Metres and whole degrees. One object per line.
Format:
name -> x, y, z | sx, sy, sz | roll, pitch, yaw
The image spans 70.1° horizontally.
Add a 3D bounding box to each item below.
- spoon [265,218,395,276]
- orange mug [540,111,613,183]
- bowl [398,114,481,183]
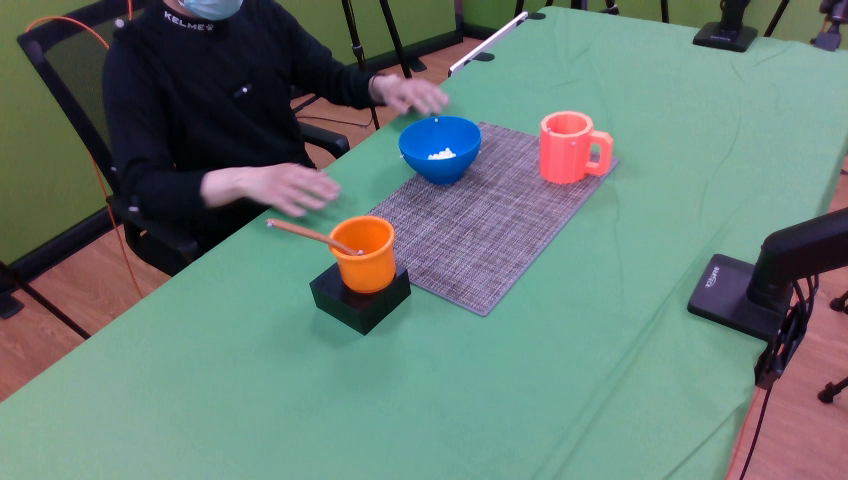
spoon -> -0.120, 0.007, 0.803 | 0.021, 0.195, 0.041 | -44, 37, 25
orange mug -> 0.263, -0.159, 1.052 | 0.125, 0.101, 0.083 | 13, 45, 28
bowl -> 0.031, -0.156, 1.097 | 0.151, 0.077, 0.150 | -4, 41, 4
